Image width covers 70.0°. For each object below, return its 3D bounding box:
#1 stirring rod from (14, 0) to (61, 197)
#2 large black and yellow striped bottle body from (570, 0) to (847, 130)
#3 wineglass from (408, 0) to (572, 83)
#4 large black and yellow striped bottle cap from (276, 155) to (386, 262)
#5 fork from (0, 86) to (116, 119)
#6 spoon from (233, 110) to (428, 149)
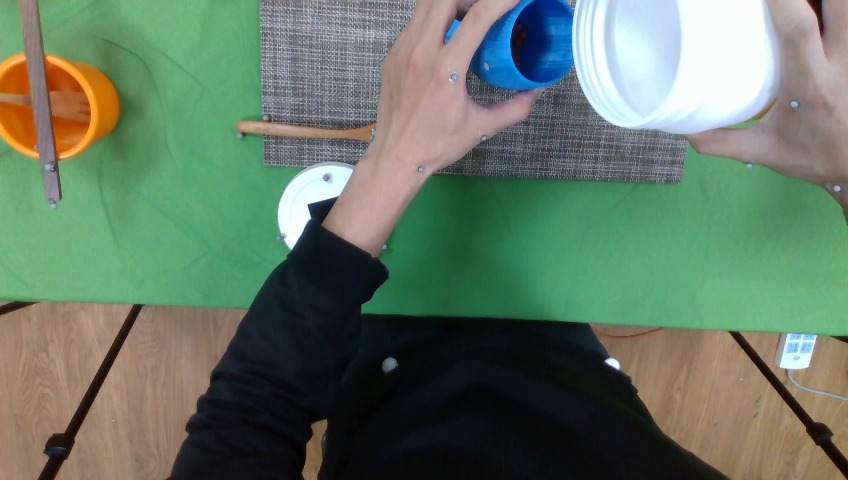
[{"bbox_3d":[-0.328,-0.123,0.514,0.014,0.006,0.177,1,108,-5],"label":"stirring rod"},{"bbox_3d":[0.204,-0.147,0.404,0.184,0.129,0.131,-14,109,-18],"label":"large black and yellow striped bottle body"},{"bbox_3d":[0.048,-0.169,0.503,0.074,0.170,0.074,-7,108,-22],"label":"wineglass"},{"bbox_3d":[-0.097,-0.031,0.639,0.115,0.018,0.115,-2,111,-5],"label":"large black and yellow striped bottle cap"},{"bbox_3d":[-0.370,-0.128,0.511,0.208,0.018,0.028,-1,121,-51],"label":"fork"},{"bbox_3d":[-0.093,-0.114,0.606,0.194,0.021,0.042,1,128,-6],"label":"spoon"}]
